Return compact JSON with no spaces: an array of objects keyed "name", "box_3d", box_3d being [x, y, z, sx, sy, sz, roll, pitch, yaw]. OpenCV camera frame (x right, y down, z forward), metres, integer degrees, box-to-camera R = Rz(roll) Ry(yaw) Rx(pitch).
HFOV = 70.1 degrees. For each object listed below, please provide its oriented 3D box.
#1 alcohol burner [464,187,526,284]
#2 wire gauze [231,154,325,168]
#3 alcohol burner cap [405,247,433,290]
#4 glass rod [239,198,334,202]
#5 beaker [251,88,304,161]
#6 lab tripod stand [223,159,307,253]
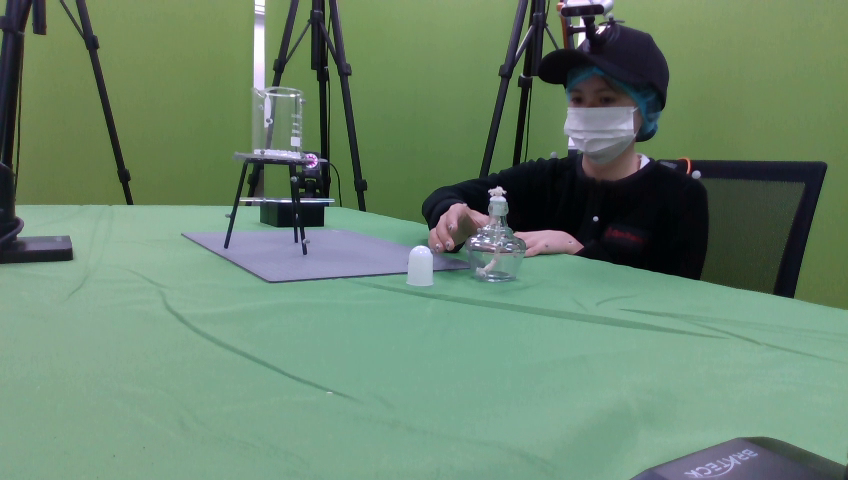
[{"name":"alcohol burner","box_3d":[0.089,-0.007,0.747,0.078,0.119,0.078,4,9,0]},{"name":"wire gauze","box_3d":[-0.215,-0.117,0.882,0.125,0.011,0.121,3,7,-19]},{"name":"alcohol burner cap","box_3d":[-0.005,0.031,0.698,0.034,0.048,0.034,3,8,0]},{"name":"glass rod","box_3d":[-0.277,-0.081,1.232,0.201,0.008,0.008,-1,8,-30]},{"name":"beaker","box_3d":[-0.214,-0.165,0.874,0.074,0.100,0.084,4,6,15]},{"name":"lab tripod stand","box_3d":[-0.220,-0.053,0.896,0.148,0.131,0.148,1,6,0]}]
